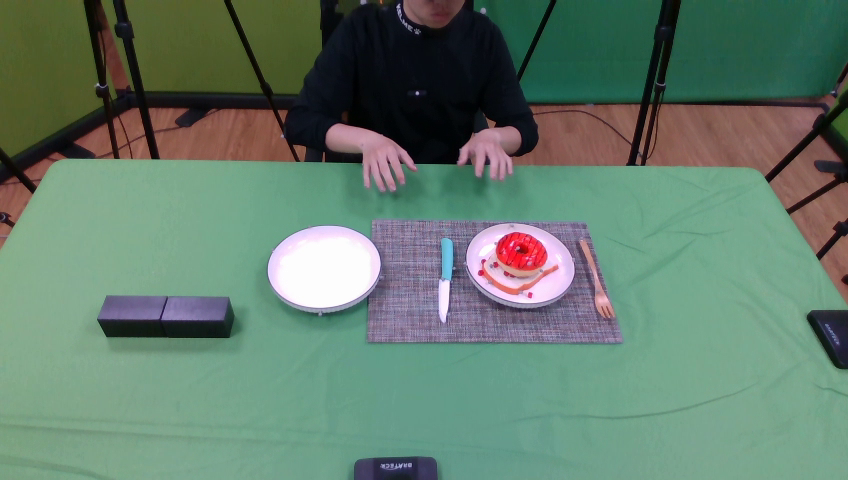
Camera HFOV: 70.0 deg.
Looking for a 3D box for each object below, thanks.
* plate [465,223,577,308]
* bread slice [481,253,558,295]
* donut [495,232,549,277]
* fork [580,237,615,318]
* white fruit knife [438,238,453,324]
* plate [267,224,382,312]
[{"bbox_3d":[0.180,0.051,1.144,0.209,0.038,0.208,2,45,-2],"label":"plate"},{"bbox_3d":[0.177,0.050,1.148,0.131,0.019,0.104,-32,55,-31],"label":"bread slice"},{"bbox_3d":[0.180,0.026,1.119,0.099,0.048,0.098,2,46,-2],"label":"donut"},{"bbox_3d":[0.325,0.067,1.150,0.028,0.019,0.206,-6,48,1],"label":"fork"},{"bbox_3d":[0.039,0.073,1.130,0.027,0.016,0.206,-17,44,21],"label":"white fruit knife"},{"bbox_3d":[-0.182,0.055,1.120,0.208,0.039,0.206,2,46,-2],"label":"plate"}]
